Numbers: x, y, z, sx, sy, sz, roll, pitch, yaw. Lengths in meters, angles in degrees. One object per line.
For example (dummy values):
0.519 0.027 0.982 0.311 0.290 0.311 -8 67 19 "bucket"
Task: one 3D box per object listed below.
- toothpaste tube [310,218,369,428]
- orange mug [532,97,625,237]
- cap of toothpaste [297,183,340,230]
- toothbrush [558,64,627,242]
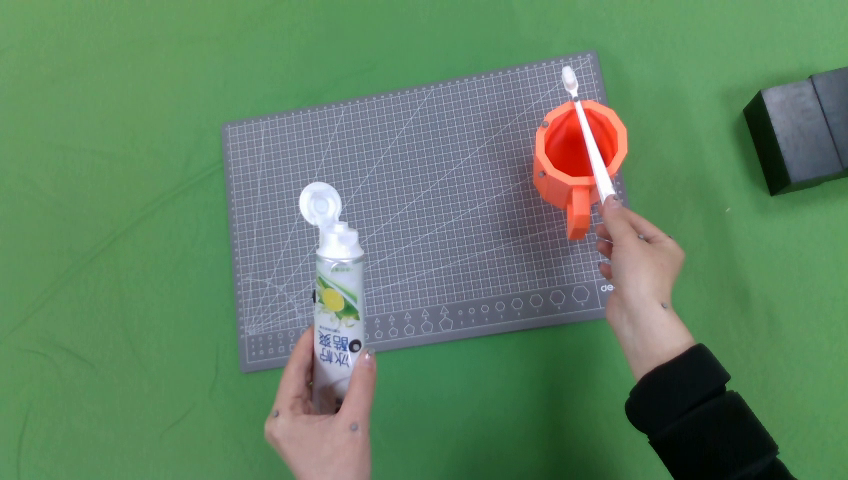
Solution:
-0.067 0.064 0.459 0.055 0.034 0.166 9 107 28 "toothpaste tube"
0.154 -0.069 0.616 0.083 0.101 0.125 -1 75 8 "orange mug"
-0.077 -0.026 0.451 0.037 0.011 0.037 6 81 -36 "cap of toothpaste"
0.155 -0.084 0.561 0.014 0.017 0.181 -17 75 10 "toothbrush"
